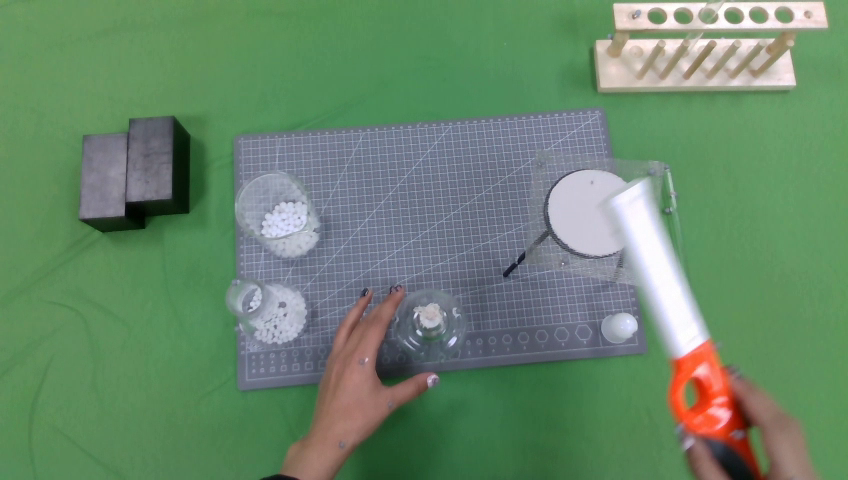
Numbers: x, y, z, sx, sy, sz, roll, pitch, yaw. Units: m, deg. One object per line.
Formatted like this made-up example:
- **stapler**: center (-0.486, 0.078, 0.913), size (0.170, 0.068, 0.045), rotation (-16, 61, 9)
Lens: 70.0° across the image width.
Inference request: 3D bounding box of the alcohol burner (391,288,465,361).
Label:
- **alcohol burner**: center (0.004, 0.084, 0.621), size (0.078, 0.119, 0.077), rotation (0, 76, 1)

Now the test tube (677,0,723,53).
- **test tube**: center (0.316, -0.255, 0.678), size (0.017, 0.151, 0.017), rotation (0, 75, 2)

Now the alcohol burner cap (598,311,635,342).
- **alcohol burner cap**: center (0.212, 0.092, 0.658), size (0.034, 0.048, 0.033), rotation (0, 75, -1)

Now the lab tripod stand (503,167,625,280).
- **lab tripod stand**: center (0.155, -0.008, 0.636), size (0.148, 0.132, 0.147), rotation (0, 77, 0)

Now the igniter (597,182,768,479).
- **igniter**: center (0.197, 0.088, 0.451), size (0.057, 0.025, 0.277), rotation (-29, 99, -15)

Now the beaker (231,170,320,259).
- **beaker**: center (-0.152, -0.022, 0.652), size (0.084, 0.100, 0.074), rotation (31, 77, 7)

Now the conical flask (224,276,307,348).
- **conical flask**: center (-0.166, 0.067, 0.617), size (0.075, 0.122, 0.075), rotation (0, 75, -1)

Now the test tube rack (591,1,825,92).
- **test tube rack**: center (0.333, -0.228, 0.722), size (0.242, 0.085, 0.066), rotation (-1, 75, -1)

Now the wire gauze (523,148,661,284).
- **wire gauze**: center (0.159, -0.024, 0.570), size (0.125, 0.011, 0.121), rotation (9, 77, 2)

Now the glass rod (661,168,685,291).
- **glass rod**: center (0.292, 0.011, 0.701), size (0.008, 0.008, 0.199), rotation (-3, 79, -2)
